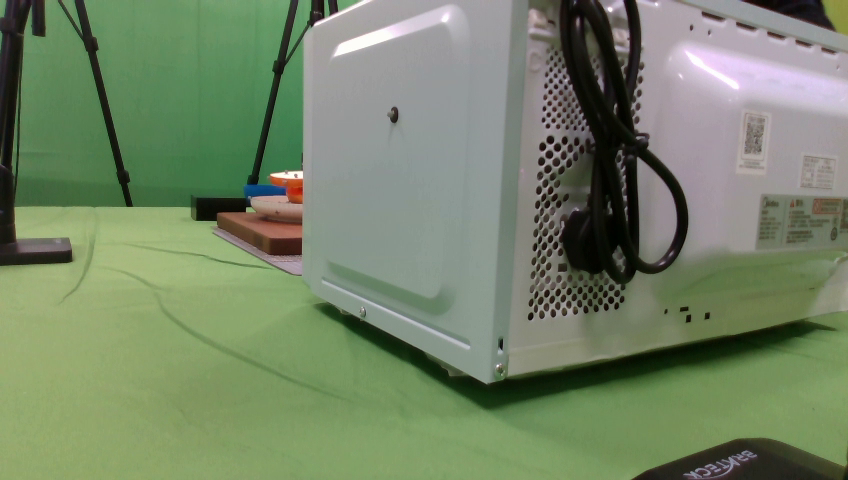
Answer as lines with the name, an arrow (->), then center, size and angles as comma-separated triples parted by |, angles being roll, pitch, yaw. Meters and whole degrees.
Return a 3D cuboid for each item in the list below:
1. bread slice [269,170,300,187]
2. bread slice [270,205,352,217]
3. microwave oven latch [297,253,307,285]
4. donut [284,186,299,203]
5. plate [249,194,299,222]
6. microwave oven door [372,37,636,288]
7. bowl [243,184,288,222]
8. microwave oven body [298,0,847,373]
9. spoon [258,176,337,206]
bread slice -> -0.213, -0.116, 1.113 | 0.106, 0.018, 0.135 | 9, 16, 38
bread slice -> -0.214, -0.054, 1.116 | 0.104, 0.019, 0.132 | 6, 5, 41
microwave oven latch -> -0.082, 0.027, 0.582 | 0.079, 0.029, 0.030 | -1, 7, -32
donut -> -0.210, -0.087, 1.124 | 0.099, 0.048, 0.099 | 3, 0, 0
plate -> -0.217, -0.058, 1.122 | 0.208, 0.039, 0.207 | 3, 7, 0
microwave oven door -> 0.109, -0.080, 0.686 | 0.358, 0.243, 0.039 | -2, 9, -33
bowl -> -0.321, -0.081, 1.333 | 0.151, 0.077, 0.151 | 3, 7, 0
microwave oven body -> 0.151, -0.055, 0.543 | 0.444, 0.260, 0.324 | -1, 8, -33
spoon -> -0.279, -0.112, 1.356 | 0.194, 0.021, 0.041 | -28, 19, -27
